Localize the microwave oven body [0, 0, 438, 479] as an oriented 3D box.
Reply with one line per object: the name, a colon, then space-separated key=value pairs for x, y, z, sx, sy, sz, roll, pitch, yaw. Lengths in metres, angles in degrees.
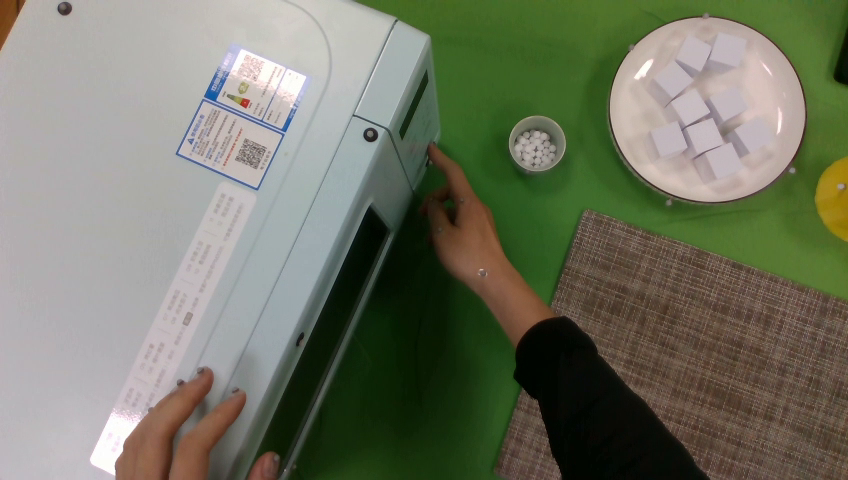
microwave oven body: x=-0.222 y=-0.009 z=0.557 sx=0.325 sy=0.261 sz=0.441 roll=23 pitch=86 yaw=5

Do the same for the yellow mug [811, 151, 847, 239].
yellow mug: x=0.476 y=-0.038 z=0.627 sx=0.100 sy=0.064 sz=0.130 roll=-17 pitch=84 yaw=0

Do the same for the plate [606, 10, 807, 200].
plate: x=0.301 y=-0.144 z=0.661 sx=0.207 sy=0.039 sz=0.207 roll=0 pitch=84 yaw=3

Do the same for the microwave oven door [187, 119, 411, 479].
microwave oven door: x=-0.106 y=0.087 z=0.536 sx=0.039 sy=0.244 sz=0.355 roll=23 pitch=85 yaw=6

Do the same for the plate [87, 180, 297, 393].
plate: x=-0.226 y=0.046 z=0.605 sx=0.209 sy=0.038 sz=0.208 roll=0 pitch=85 yaw=3

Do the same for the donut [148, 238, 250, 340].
donut: x=-0.217 y=0.047 z=0.590 sx=0.099 sy=0.048 sz=0.099 roll=0 pitch=88 yaw=0

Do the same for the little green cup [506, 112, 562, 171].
little green cup: x=0.119 y=-0.105 z=0.664 sx=0.061 sy=0.039 sz=0.061 roll=0 pitch=85 yaw=3

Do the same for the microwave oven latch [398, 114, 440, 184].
microwave oven latch: x=-0.010 y=-0.102 z=0.652 sx=0.030 sy=0.029 sz=0.079 roll=27 pitch=87 yaw=5
